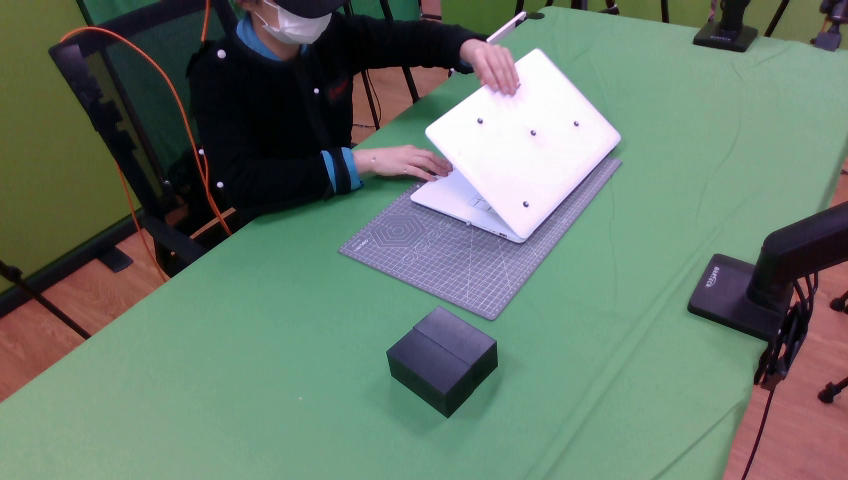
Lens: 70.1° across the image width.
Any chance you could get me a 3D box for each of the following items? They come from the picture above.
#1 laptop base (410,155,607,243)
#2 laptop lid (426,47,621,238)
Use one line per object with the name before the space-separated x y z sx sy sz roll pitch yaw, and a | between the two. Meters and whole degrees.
laptop base | 0.171 -0.126 1.096 0.233 0.023 0.355 21 47 33
laptop lid | 0.184 -0.181 1.026 0.241 0.013 0.358 50 55 0
